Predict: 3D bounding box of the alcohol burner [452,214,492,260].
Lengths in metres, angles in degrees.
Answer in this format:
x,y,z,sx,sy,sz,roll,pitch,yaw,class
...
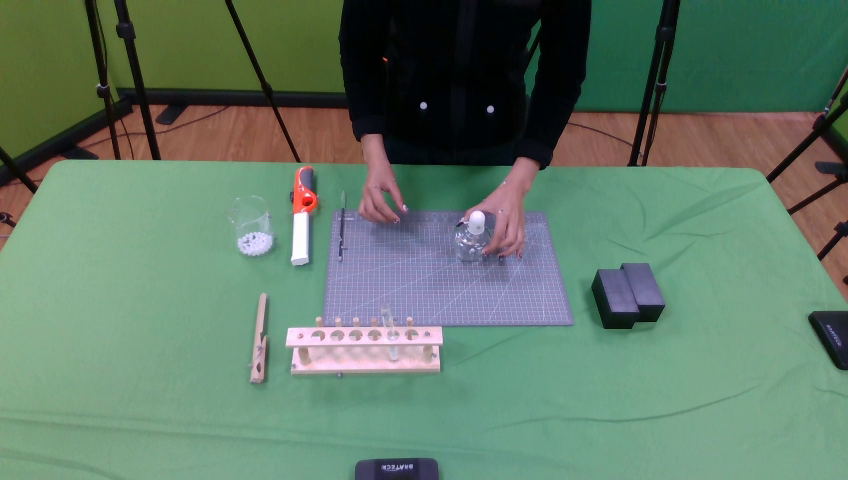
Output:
x,y,z,sx,sy,sz,roll,pitch,yaw,class
0.092,-0.015,1.133,0.078,0.119,0.077,4,56,-6,alcohol burner

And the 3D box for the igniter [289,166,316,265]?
x,y,z,sx,sy,sz,roll,pitch,yaw,class
-0.248,-0.058,1.233,0.057,0.025,0.274,-9,47,1,igniter

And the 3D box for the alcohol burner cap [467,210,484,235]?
x,y,z,sx,sy,sz,roll,pitch,yaw,class
0.095,-0.035,1.103,0.034,0.048,0.033,0,58,1,alcohol burner cap

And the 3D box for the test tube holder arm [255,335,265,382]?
x,y,z,sx,sy,sz,roll,pitch,yaw,class
-0.270,0.193,0.997,0.010,0.015,0.087,24,36,-32,test tube holder arm

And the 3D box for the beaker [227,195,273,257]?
x,y,z,sx,sy,sz,roll,pitch,yaw,class
-0.326,-0.022,1.142,0.074,0.101,0.083,10,47,6,beaker

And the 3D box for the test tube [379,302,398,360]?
x,y,z,sx,sy,sz,roll,pitch,yaw,class
-0.054,0.145,0.943,0.017,0.151,0.017,-2,49,3,test tube

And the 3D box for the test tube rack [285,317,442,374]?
x,y,z,sx,sy,sz,roll,pitch,yaw,class
-0.095,0.166,0.988,0.242,0.085,0.066,0,46,-4,test tube rack

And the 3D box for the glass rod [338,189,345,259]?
x,y,z,sx,sy,sz,roll,pitch,yaw,class
-0.166,-0.037,1.226,0.008,0.008,0.198,-1,47,-4,glass rod

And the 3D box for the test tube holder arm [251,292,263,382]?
x,y,z,sx,sy,sz,roll,pitch,yaw,class
-0.281,0.159,1.025,0.013,0.015,0.177,23,36,-33,test tube holder arm
